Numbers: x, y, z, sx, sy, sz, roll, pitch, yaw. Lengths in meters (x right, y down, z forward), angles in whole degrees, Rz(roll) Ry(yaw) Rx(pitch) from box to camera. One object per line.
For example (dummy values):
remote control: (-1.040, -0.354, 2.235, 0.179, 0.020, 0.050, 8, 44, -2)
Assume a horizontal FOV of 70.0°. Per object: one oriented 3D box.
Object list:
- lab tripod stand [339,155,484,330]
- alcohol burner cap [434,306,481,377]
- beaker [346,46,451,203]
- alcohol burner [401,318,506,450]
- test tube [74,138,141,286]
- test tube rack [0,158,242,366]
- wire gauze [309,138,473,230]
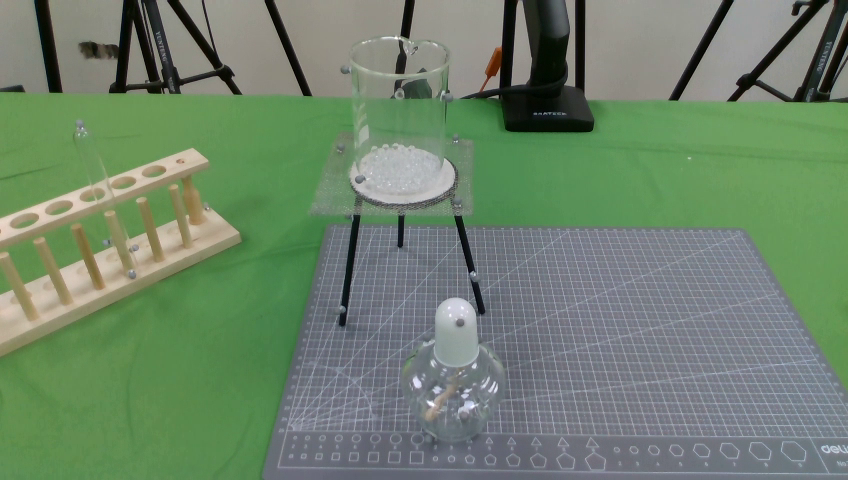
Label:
lab tripod stand: (-0.013, 0.004, 0.530, 0.148, 0.132, 0.147, 1, 37, -1)
alcohol burner cap: (0.023, 0.066, 0.408, 0.034, 0.048, 0.033, -2, 37, 2)
beaker: (-0.018, -0.087, 0.460, 0.074, 0.101, 0.083, 8, 38, 7)
alcohol burner: (0.022, 0.094, 0.430, 0.078, 0.120, 0.077, 1, 40, 0)
test tube: (-0.276, -0.020, 0.531, 0.017, 0.151, 0.017, 1, 37, 0)
test tube rack: (-0.301, 0.014, 0.560, 0.242, 0.086, 0.066, -30, 46, -33)
wire gauze: (-0.021, -0.047, 0.488, 0.121, 0.011, 0.124, 2, 40, 2)
